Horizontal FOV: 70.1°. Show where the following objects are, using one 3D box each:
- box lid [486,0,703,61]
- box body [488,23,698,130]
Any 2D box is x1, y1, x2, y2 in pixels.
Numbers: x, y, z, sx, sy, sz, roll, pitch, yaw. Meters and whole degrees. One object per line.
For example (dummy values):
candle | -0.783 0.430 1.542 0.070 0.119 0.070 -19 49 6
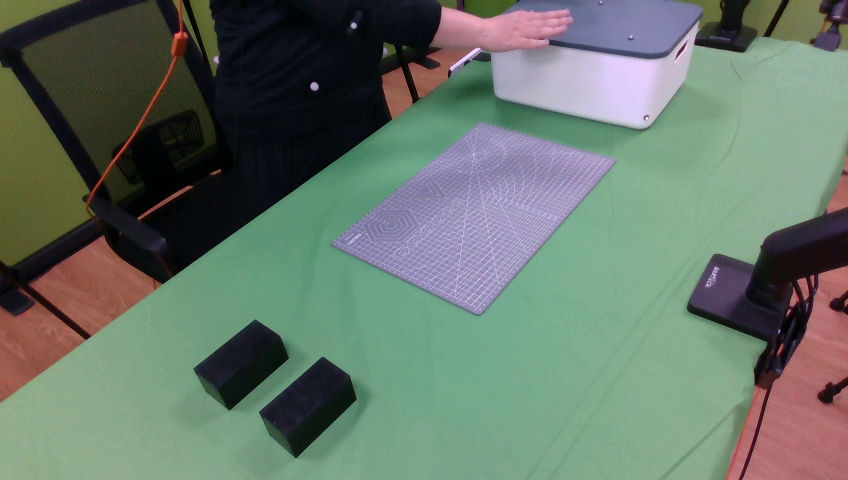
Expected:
box lid | 0.338 -0.435 1.208 0.369 0.015 0.264 20 47 29
box body | 0.345 -0.379 1.257 0.361 0.161 0.255 20 48 29
